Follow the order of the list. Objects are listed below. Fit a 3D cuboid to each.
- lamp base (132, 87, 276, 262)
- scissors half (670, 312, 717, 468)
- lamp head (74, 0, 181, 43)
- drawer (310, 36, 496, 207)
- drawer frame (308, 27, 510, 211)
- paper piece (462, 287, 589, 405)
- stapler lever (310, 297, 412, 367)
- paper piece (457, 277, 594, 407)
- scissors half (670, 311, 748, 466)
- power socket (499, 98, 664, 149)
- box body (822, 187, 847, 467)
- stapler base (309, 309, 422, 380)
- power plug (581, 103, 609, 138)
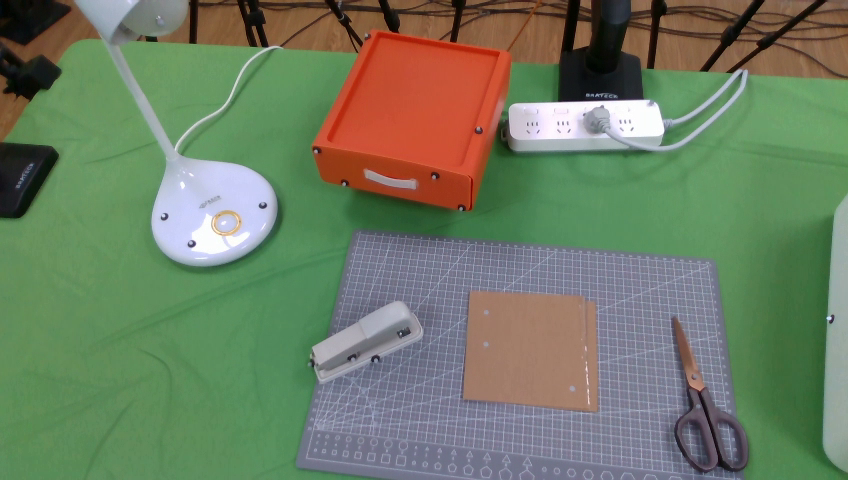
[{"bbox_3d":[-0.288,-0.089,0.734,0.178,0.182,0.160,34,65,25],"label":"lamp base"},{"bbox_3d":[0.279,0.153,0.647,0.040,0.013,0.173,8,55,-2],"label":"scissors half"},{"bbox_3d":[-0.253,-0.237,0.484,0.123,0.112,0.112,45,64,-15],"label":"lamp head"},{"bbox_3d":[-0.013,-0.157,0.773,0.194,0.074,0.210,12,58,11],"label":"drawer"},{"bbox_3d":[-0.012,-0.161,0.778,0.201,0.083,0.212,12,60,11],"label":"drawer frame"},{"bbox_3d":[0.115,0.115,0.683,0.136,0.009,0.137,1,59,8],"label":"paper piece"},{"bbox_3d":[-0.069,0.099,0.664,0.118,0.040,0.026,-23,56,-10],"label":"stapler lever"},{"bbox_3d":[0.119,0.113,0.697,0.135,0.004,0.135,11,60,17],"label":"paper piece"},{"bbox_3d":[0.299,0.152,0.649,0.040,0.013,0.173,-9,56,-7],"label":"scissors half"},{"bbox_3d":[0.220,-0.163,0.846,0.227,0.033,0.071,0,58,2],"label":"power socket"},{"bbox_3d":[0.560,0.077,0.597,0.253,0.162,0.362,17,60,13],"label":"box body"},{"bbox_3d":[-0.066,0.112,0.686,0.130,0.024,0.041,-23,56,-10],"label":"stapler base"},{"bbox_3d":[0.227,-0.151,0.811,0.035,0.053,0.072,9,58,8],"label":"power plug"}]
